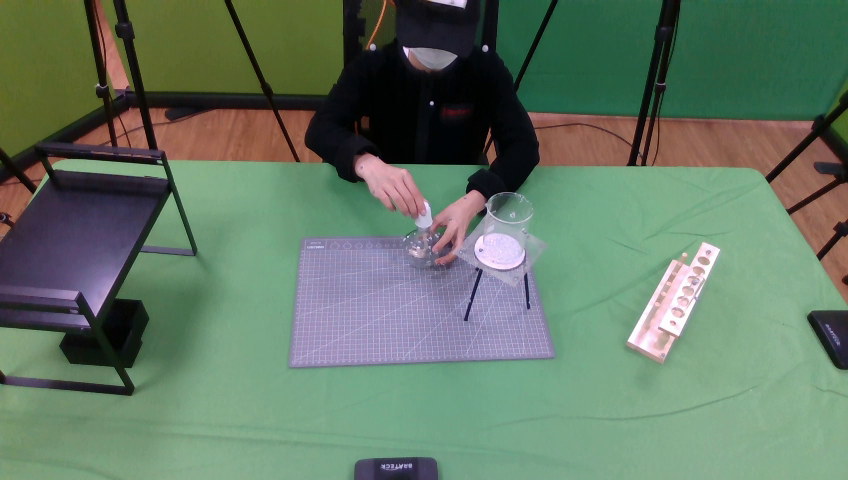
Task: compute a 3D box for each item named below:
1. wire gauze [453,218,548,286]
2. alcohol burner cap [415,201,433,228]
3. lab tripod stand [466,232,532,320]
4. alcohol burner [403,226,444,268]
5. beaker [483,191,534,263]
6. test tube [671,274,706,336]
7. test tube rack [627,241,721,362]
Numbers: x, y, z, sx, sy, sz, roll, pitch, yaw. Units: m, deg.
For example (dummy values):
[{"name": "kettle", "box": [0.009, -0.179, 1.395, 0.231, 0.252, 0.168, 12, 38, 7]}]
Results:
[{"name": "wire gauze", "box": [0.129, 0.014, 1.018, 0.124, 0.011, 0.121, 26, 47, 25]}, {"name": "alcohol burner cap", "box": [-0.001, -0.049, 1.086, 0.034, 0.048, 0.033, -1, 42, 1]}, {"name": "lab tripod stand", "box": [0.125, 0.059, 1.065, 0.148, 0.132, 0.147, 1, 45, 0]}, {"name": "alcohol burner", "box": [-0.001, -0.004, 1.132, 0.078, 0.120, 0.077, 1, 47, 0]}, {"name": "beaker", "box": [0.135, -0.020, 0.983, 0.073, 0.101, 0.084, 28, 50, 23]}, {"name": "test tube", "box": [0.429, 0.112, 1.004, 0.017, 0.151, 0.017, 4, 43, -4]}, {"name": "test tube rack", "box": [0.452, 0.098, 1.087, 0.066, 0.085, 0.242, 28, 51, 22]}]
